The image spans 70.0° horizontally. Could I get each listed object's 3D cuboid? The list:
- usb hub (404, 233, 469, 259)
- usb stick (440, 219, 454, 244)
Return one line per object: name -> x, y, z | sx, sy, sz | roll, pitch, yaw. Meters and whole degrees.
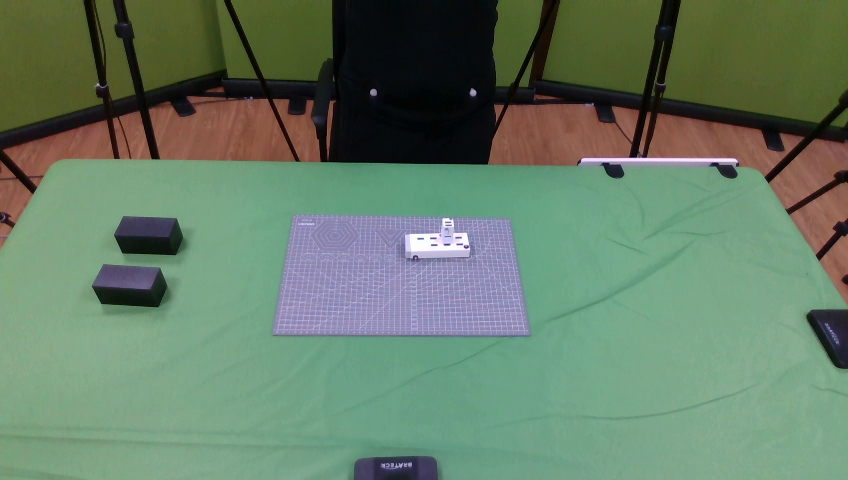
usb hub -> 0.024, 0.012, 1.181 | 0.125, 0.025, 0.049 | -2, 47, -5
usb stick -> 0.043, -0.011, 1.166 | 0.021, 0.059, 0.027 | -3, 48, -8
